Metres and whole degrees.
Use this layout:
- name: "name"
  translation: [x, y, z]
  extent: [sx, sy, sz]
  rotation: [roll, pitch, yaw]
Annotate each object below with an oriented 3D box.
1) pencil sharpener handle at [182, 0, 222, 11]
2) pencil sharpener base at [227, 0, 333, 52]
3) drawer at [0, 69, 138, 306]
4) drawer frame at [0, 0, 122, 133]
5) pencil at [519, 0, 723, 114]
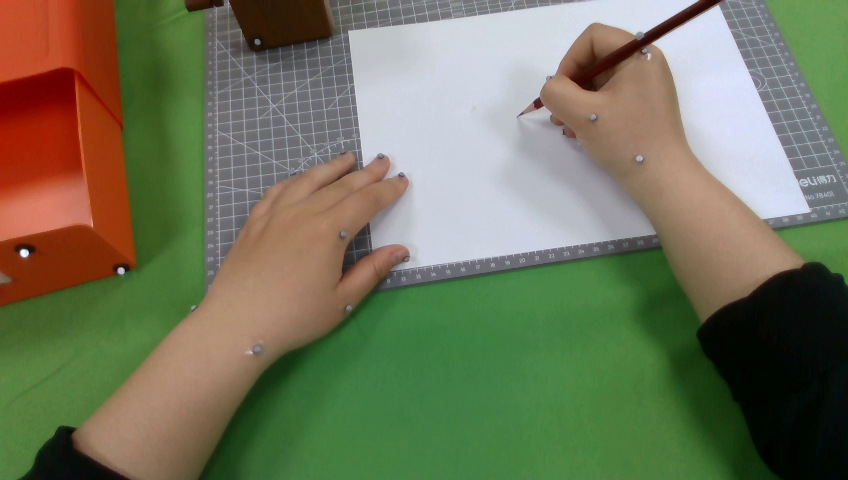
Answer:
- name: "pencil sharpener handle"
  translation: [-0.166, -0.192, 0.430]
  extent: [0.030, 0.068, 0.035]
  rotation: [-14, 63, -3]
- name: "pencil sharpener base"
  translation: [-0.117, -0.200, 0.445]
  extent: [0.077, 0.108, 0.061]
  rotation: [-14, 66, -3]
- name: "drawer"
  translation: [-0.312, -0.055, 0.406]
  extent: [0.194, 0.074, 0.210]
  rotation: [-16, 66, -5]
- name: "drawer frame"
  translation: [-0.345, -0.158, 0.450]
  extent: [0.202, 0.083, 0.211]
  rotation: [-16, 66, -5]
- name: "pencil"
  translation: [0.124, -0.117, 0.371]
  extent: [0.012, 0.193, 0.012]
  rotation: [11, 70, -33]
